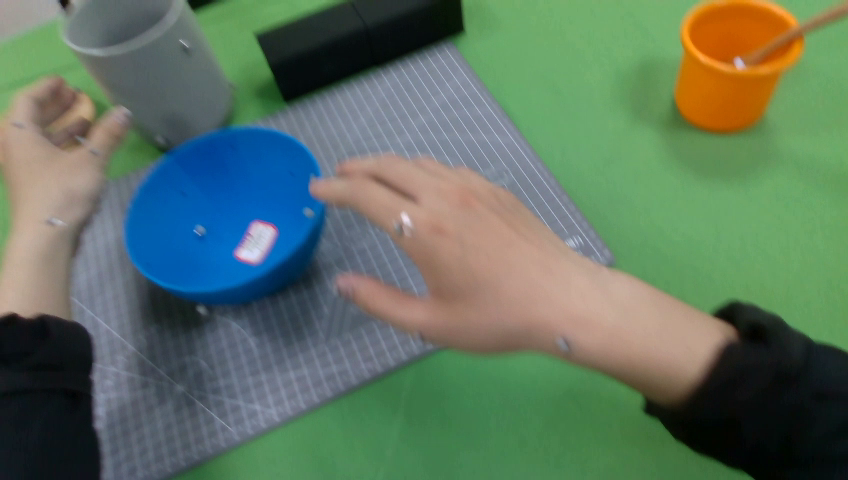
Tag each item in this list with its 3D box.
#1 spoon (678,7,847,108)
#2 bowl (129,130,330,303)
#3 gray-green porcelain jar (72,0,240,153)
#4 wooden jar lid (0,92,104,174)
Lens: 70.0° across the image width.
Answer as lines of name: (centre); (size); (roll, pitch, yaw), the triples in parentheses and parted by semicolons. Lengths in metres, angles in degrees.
spoon: (0.290, -0.152, 0.473); (0.022, 0.193, 0.041); (34, 56, -21)
bowl: (-0.140, -0.006, 0.480); (0.151, 0.077, 0.150); (-4, 56, 6)
gray-green porcelain jar: (-0.240, -0.153, 0.567); (0.106, 0.128, 0.105); (-4, 56, 7)
wooden jar lid: (-0.380, -0.109, 0.624); (0.108, 0.021, 0.107); (-3, 56, 4)
